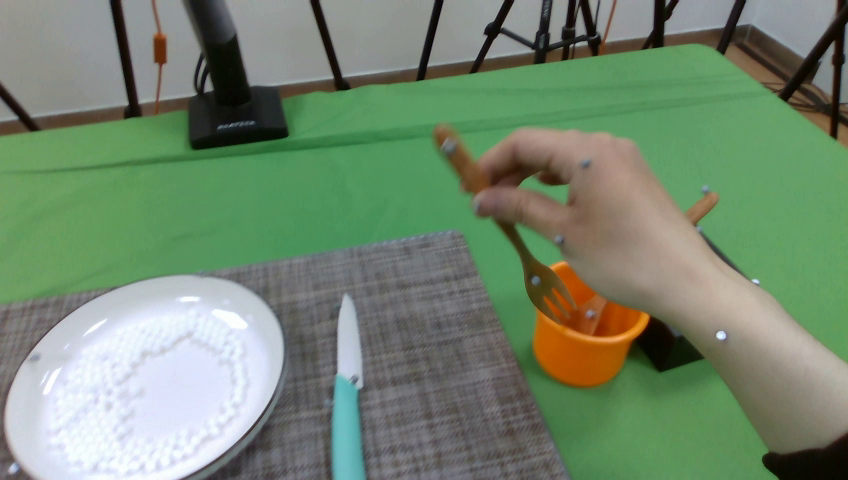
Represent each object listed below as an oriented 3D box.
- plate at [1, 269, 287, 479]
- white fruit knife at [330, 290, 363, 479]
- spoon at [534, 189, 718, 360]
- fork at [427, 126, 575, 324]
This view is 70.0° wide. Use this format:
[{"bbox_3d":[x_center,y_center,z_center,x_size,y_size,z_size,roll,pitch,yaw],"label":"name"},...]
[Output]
[{"bbox_3d":[-0.213,0.110,0.483,0.209,0.038,0.207,0,44,0],"label":"plate"},{"bbox_3d":[-0.064,0.117,0.496,0.027,0.016,0.205,20,36,-24],"label":"white fruit knife"},{"bbox_3d":[0.165,0.030,0.499,0.022,0.194,0.041,26,23,-43],"label":"spoon"},{"bbox_3d":[0.056,-0.001,0.389,0.028,0.210,0.018,-43,46,-1],"label":"fork"}]
